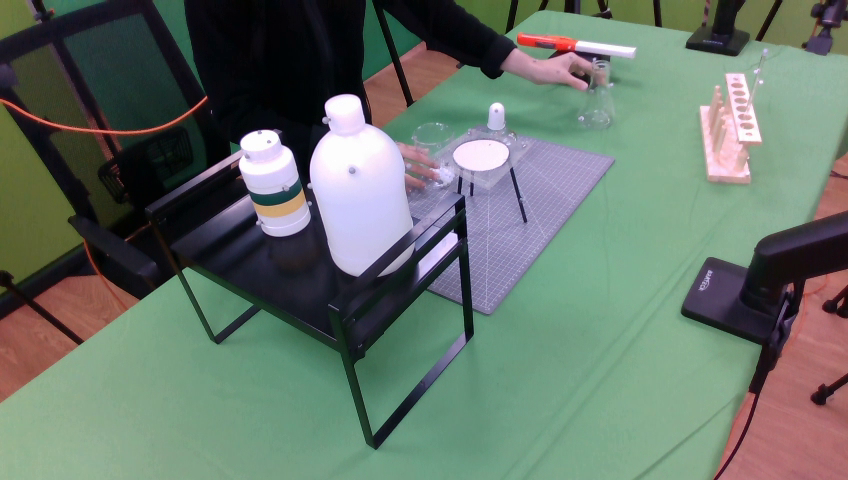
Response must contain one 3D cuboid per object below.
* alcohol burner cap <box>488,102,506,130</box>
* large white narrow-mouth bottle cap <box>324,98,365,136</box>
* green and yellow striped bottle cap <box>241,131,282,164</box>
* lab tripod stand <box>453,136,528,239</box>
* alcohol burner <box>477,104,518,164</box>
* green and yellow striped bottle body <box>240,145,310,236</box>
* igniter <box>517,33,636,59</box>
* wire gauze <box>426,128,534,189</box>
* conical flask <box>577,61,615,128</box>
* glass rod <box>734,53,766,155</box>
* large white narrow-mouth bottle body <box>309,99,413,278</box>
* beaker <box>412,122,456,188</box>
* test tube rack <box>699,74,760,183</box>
[{"bbox_3d":[0.133,-0.227,1.092,0.034,0.048,0.033,-1,48,1],"label":"alcohol burner cap"},{"bbox_3d":[-0.076,-0.120,0.586,0.038,0.024,0.037,-3,42,3],"label":"large white narrow-mouth bottle cap"},{"bbox_3d":[-0.187,-0.107,0.695,0.045,0.020,0.045,-3,39,3],"label":"green and yellow striped bottle cap"},{"bbox_3d":[0.094,-0.086,0.974,0.148,0.132,0.147,-4,43,4],"label":"lab tripod stand"},{"bbox_3d":[0.135,-0.200,1.117,0.078,0.119,0.077,-4,43,4],"label":"alcohol burner"},{"bbox_3d":[-0.181,-0.068,0.729,0.063,0.120,0.063,-4,40,4],"label":"green and yellow striped bottle body"},{"bbox_3d":[0.336,-0.441,1.369,0.275,0.025,0.057,16,41,23],"label":"igniter"},{"bbox_3d":[0.086,-0.131,0.924,0.124,0.011,0.122,26,52,33],"label":"wire gauze"},{"bbox_3d":[0.343,-0.288,1.188,0.075,0.122,0.075,-4,41,4],"label":"conical flask"},{"bbox_3d":[0.540,-0.220,1.006,0.008,0.201,0.008,-5,45,6],"label":"glass rod"},{"bbox_3d":[-0.069,-0.057,0.644,0.102,0.195,0.101,-3,42,4],"label":"large white narrow-mouth bottle body"},{"bbox_3d":[0.022,-0.152,1.088,0.073,0.100,0.084,13,44,21],"label":"beaker"},{"bbox_3d":[0.547,-0.208,1.095,0.066,0.085,0.242,6,42,16],"label":"test tube rack"}]
